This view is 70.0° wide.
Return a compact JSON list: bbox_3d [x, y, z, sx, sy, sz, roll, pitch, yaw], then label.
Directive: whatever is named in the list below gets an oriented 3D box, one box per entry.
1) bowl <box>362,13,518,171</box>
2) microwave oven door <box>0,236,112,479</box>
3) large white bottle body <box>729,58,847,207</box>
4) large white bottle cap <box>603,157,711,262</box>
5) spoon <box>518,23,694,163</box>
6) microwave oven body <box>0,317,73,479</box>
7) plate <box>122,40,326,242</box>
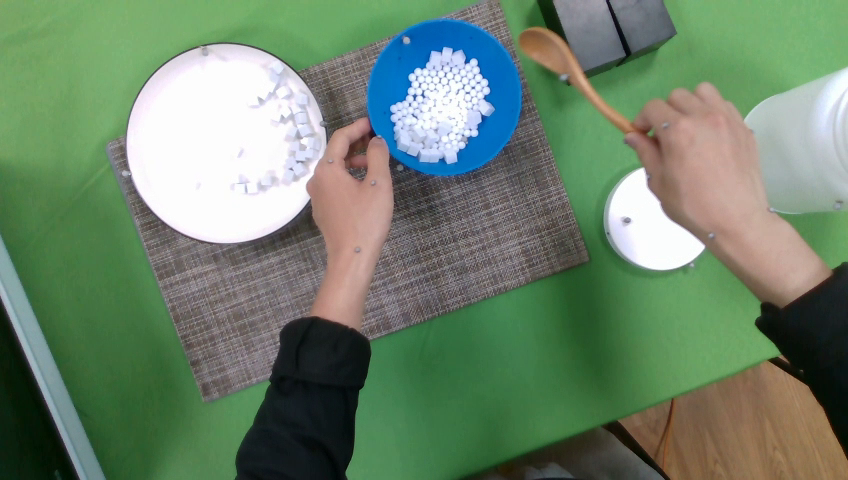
[{"bbox_3d":[0.016,-0.142,0.618,0.151,0.077,0.151,0,93,1],"label":"bowl"},{"bbox_3d":[-0.403,0.148,0.531,0.039,0.243,0.356,-23,92,1],"label":"microwave oven door"},{"bbox_3d":[0.393,-0.100,0.571,0.130,0.184,0.130,0,91,0],"label":"large white bottle body"},{"bbox_3d":[0.252,-0.032,0.656,0.115,0.018,0.115,0,92,-1],"label":"large white bottle cap"},{"bbox_3d":[0.155,-0.128,0.528,0.021,0.042,0.192,-39,73,-7],"label":"spoon"},{"bbox_3d":[-0.554,0.166,0.536,0.326,0.260,0.442,-23,92,0],"label":"microwave oven body"},{"bbox_3d":[-0.205,-0.101,0.638,0.209,0.038,0.209,0,92,0],"label":"plate"}]
